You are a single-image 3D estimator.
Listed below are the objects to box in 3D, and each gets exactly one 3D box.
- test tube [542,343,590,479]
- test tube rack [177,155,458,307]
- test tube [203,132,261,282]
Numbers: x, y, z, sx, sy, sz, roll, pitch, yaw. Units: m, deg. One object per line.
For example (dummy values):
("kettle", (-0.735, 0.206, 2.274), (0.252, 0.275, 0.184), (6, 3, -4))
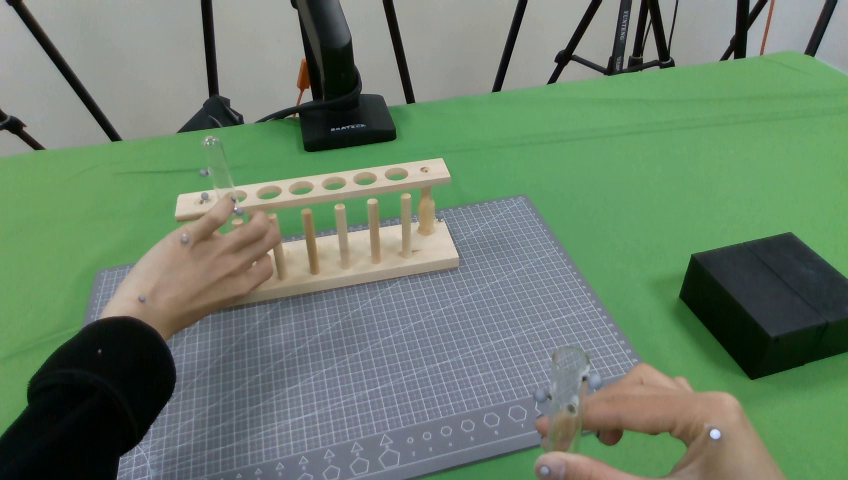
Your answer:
("test tube", (0.066, 0.108, 0.294), (0.017, 0.151, 0.017), (-3, 35, 2))
("test tube rack", (-0.093, -0.010, 0.563), (0.243, 0.086, 0.066), (-9, 40, -9))
("test tube", (-0.160, -0.023, 0.511), (0.017, 0.152, 0.017), (-2, 39, 2))
